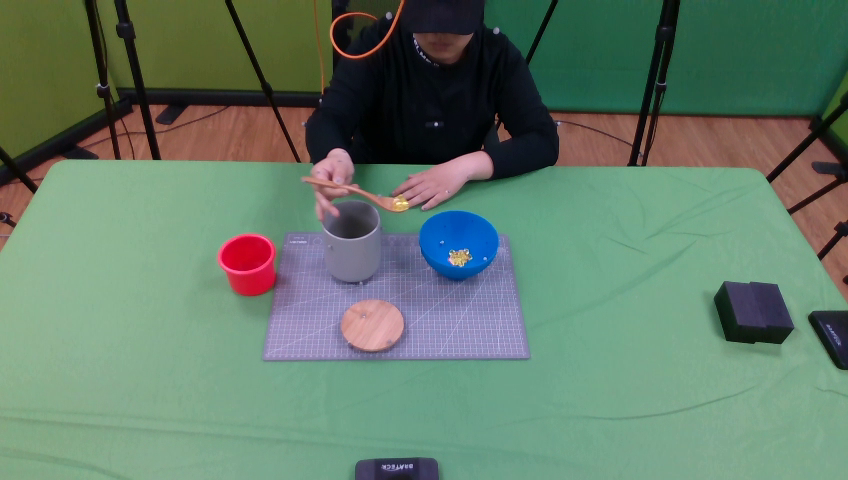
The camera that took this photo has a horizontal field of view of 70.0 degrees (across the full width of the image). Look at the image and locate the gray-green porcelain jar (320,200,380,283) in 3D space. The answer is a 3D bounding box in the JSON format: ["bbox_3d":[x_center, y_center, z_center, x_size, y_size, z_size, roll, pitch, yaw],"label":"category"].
[{"bbox_3d":[-0.132,0.007,1.106,0.106,0.127,0.105,2,46,-2],"label":"gray-green porcelain jar"}]

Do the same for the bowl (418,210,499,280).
[{"bbox_3d":[0.062,0.022,1.140,0.151,0.077,0.150,2,46,-2],"label":"bowl"}]

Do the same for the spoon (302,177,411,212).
[{"bbox_3d":[-0.113,-0.081,1.030,0.194,0.022,0.041,17,35,-24],"label":"spoon"}]

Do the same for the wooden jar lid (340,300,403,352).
[{"bbox_3d":[-0.090,0.150,1.046,0.108,0.021,0.107,3,47,-3],"label":"wooden jar lid"}]
